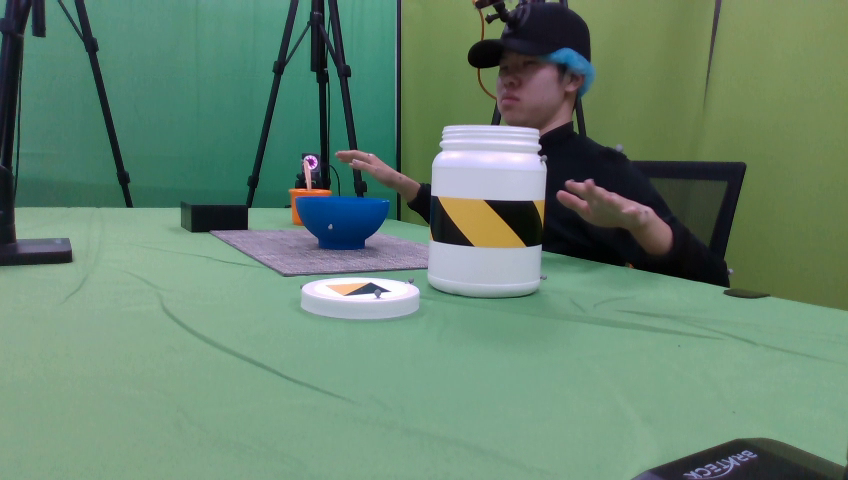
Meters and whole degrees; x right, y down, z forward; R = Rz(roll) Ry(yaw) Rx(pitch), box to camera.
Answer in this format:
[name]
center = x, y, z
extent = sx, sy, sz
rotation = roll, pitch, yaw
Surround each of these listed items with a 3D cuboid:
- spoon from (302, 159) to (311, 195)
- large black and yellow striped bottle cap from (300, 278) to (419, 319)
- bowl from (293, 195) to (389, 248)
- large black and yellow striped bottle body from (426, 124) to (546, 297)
[spoon]
center = -0.257, -0.113, 1.341
extent = 0.042, 0.193, 0.021
rotation = 3, -38, -19
[large black and yellow striped bottle cap]
center = -0.062, 0.055, 0.588
extent = 0.115, 0.019, 0.115
rotation = 1, 6, 0
[bowl]
center = -0.132, -0.029, 0.962
extent = 0.151, 0.077, 0.151
rotation = 2, 7, 0
[large black and yellow striped bottle body]
center = 0.070, -0.037, 0.689
extent = 0.131, 0.184, 0.130
rotation = 2, 7, 0
